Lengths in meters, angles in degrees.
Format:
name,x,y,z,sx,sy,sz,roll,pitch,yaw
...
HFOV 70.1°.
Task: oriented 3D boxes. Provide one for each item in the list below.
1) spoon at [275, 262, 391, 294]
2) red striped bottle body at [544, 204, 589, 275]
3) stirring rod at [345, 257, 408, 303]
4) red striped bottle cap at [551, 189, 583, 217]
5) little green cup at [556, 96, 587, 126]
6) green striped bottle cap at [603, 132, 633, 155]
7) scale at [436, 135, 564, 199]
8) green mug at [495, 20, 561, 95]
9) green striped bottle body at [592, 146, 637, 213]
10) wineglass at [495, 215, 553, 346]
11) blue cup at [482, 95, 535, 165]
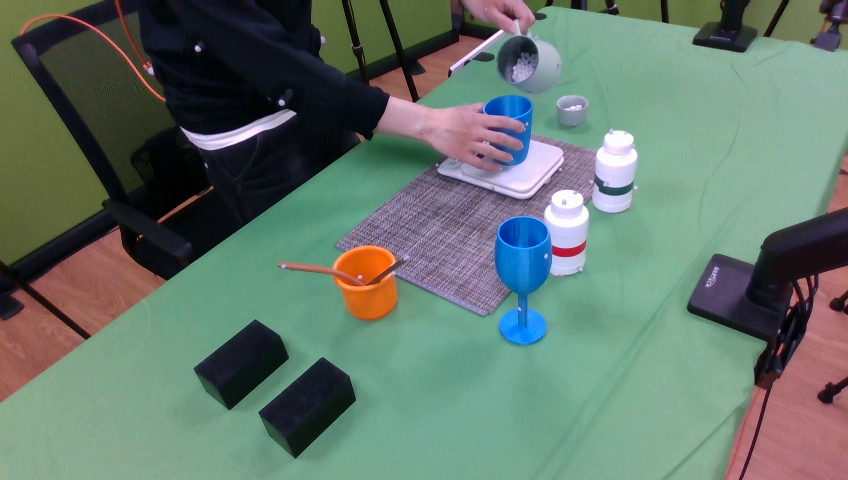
name,x,y,z,sx,sy,sz,roll,pitch,yaw
spoon,-0.120,0.050,0.830,0.041,0.195,0.021,31,97,45
red striped bottle body,0.206,-0.011,0.877,0.063,0.120,0.062,-5,41,4
stirring rod,-0.067,0.056,0.814,0.014,0.175,0.006,-22,81,-37
red striped bottle cap,0.200,-0.052,0.843,0.044,0.018,0.044,-2,42,3
little green cup,0.295,-0.258,1.215,0.061,0.039,0.061,-5,41,5
green striped bottle cap,0.302,-0.149,0.939,0.044,0.020,0.044,-3,40,3
scale,0.137,-0.142,1.101,0.199,0.032,0.149,22,48,30
green mug,0.178,-0.321,1.055,0.092,0.125,0.105,-15,-3,31
green striped bottle body,0.307,-0.108,0.976,0.063,0.120,0.063,-4,41,4
wineglass,0.127,0.054,0.770,0.074,0.173,0.073,-4,40,4
blue cup,0.148,-0.188,1.053,0.092,0.101,0.092,-6,39,6
